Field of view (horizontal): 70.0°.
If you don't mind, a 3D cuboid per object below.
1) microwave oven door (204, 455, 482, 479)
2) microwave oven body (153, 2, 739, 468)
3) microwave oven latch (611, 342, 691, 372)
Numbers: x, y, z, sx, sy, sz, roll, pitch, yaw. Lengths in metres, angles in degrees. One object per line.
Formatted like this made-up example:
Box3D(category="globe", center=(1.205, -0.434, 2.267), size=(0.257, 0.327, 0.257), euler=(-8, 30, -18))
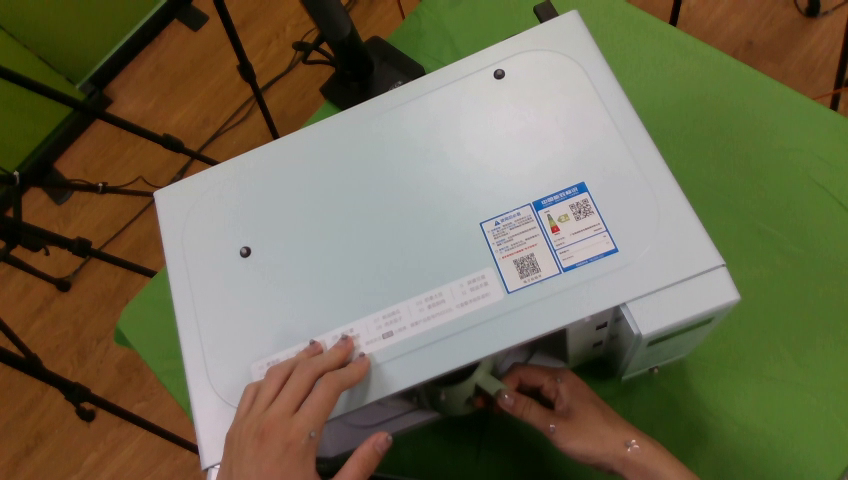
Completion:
Box3D(category="microwave oven door", center=(0.022, 0.235, 0.541), size=(0.355, 0.246, 0.039), euler=(3, 72, 14))
Box3D(category="microwave oven body", center=(0.009, 0.023, 0.629), size=(0.441, 0.262, 0.323), euler=(-23, 67, 5))
Box3D(category="microwave oven latch", center=(0.241, 0.115, 0.647), size=(0.079, 0.030, 0.030), euler=(-21, 67, 6))
